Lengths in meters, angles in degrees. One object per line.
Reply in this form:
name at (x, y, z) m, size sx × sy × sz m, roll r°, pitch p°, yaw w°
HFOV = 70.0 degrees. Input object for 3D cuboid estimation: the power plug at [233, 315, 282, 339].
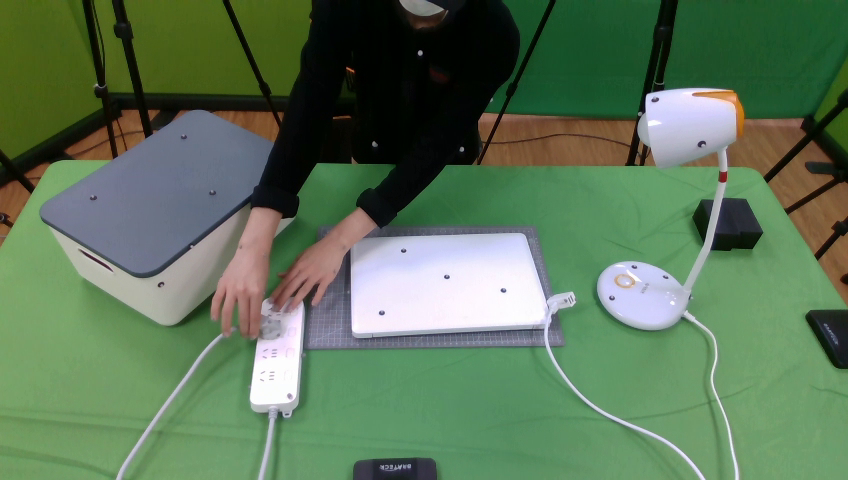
power plug at (-0.271, 0.143, 0.999) m, size 0.072 × 0.053 × 0.035 m, roll 7°, pitch 46°, yaw 3°

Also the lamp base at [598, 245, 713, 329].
lamp base at (0.420, 0.051, 1.071) m, size 0.179 × 0.181 × 0.160 m, roll 22°, pitch 49°, yaw 13°

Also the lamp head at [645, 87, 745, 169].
lamp head at (0.382, -0.161, 0.852) m, size 0.122 × 0.113 × 0.112 m, roll -4°, pitch 42°, yaw 25°

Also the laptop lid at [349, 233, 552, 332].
laptop lid at (0.040, 0.070, 1.119) m, size 0.357 × 0.013 × 0.240 m, roll -1°, pitch 44°, yaw -5°

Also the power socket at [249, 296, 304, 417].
power socket at (-0.239, 0.182, 0.996) m, size 0.072 × 0.033 × 0.225 m, roll -2°, pitch 47°, yaw -5°

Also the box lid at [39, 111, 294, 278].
box lid at (-0.435, -0.097, 1.055) m, size 0.262 × 0.015 × 0.370 m, roll 25°, pitch 49°, yaw 18°

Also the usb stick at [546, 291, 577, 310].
usb stick at (0.241, 0.110, 1.086) m, size 0.027 × 0.059 × 0.021 m, roll -35°, pitch 102°, yaw -43°

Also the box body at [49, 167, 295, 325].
box body at (-0.437, -0.046, 1.110) m, size 0.253 × 0.161 × 0.363 m, roll 24°, pitch 49°, yaw 19°

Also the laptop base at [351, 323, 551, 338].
laptop base at (0.040, 0.080, 1.125) m, size 0.355 × 0.023 × 0.234 m, roll -2°, pitch 43°, yaw -6°
